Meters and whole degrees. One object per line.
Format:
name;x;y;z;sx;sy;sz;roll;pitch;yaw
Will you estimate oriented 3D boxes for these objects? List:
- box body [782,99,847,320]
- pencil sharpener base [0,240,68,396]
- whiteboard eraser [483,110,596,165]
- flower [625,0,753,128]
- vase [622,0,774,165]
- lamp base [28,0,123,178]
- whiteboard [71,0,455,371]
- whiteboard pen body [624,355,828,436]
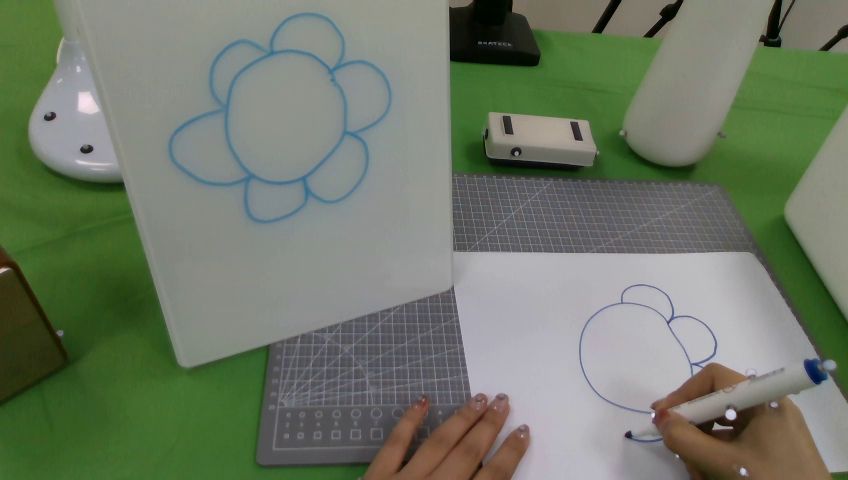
box body;0.496;0.040;0.476;0.255;0.161;0.360;2;47;-7
pencil sharpener base;-0.286;0.040;0.381;0.076;0.108;0.061;36;52;24
whiteboard eraser;0.119;-0.105;0.633;0.113;0.042;0.055;2;44;-6
flower;0.298;-0.220;0.548;0.044;0.363;0.038;-19;70;-34
vase;0.278;-0.174;0.616;0.098;0.201;0.097;5;46;-5
lamp base;-0.290;-0.173;0.532;0.178;0.182;0.160;31;50;22
whiteboard;-0.106;-0.096;0.443;0.218;0.308;0.142;-14;32;-20
whiteboard pen body;0.183;0.104;0.385;0.017;0.141;0.017;23;48;-28
